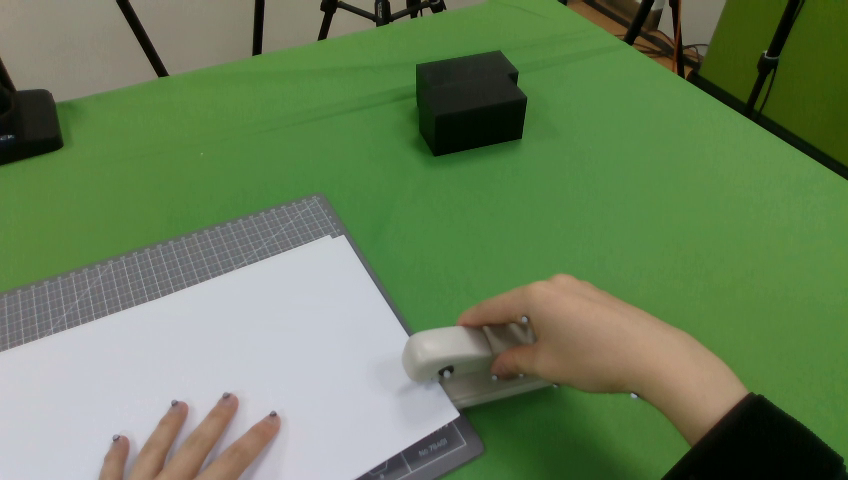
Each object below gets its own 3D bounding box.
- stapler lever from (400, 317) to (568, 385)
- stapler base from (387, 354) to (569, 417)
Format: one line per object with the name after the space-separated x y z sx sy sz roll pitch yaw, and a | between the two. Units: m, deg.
0.042 0.071 0.410 0.118 0.040 0.026 -11 49 -15 | stapler lever
0.039 0.089 0.426 0.131 0.024 0.041 -10 49 -16 | stapler base
